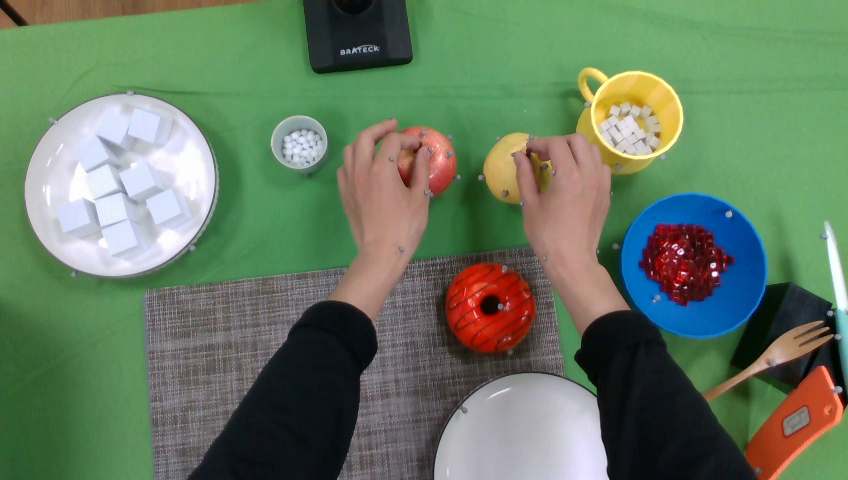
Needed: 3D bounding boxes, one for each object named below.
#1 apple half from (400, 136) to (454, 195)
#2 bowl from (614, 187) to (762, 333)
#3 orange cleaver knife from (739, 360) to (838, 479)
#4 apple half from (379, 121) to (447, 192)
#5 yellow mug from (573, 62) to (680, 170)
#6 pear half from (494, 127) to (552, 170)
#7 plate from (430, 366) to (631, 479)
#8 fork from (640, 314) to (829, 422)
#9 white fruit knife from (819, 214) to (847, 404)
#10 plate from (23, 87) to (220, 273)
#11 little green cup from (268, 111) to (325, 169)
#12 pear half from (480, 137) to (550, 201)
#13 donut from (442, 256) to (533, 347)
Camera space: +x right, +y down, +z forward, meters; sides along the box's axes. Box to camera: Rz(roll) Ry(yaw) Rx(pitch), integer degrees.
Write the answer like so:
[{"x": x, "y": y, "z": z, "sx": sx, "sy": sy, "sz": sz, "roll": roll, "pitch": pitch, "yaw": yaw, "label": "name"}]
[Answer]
[{"x": 0.010, "y": -0.073, "z": 0.662, "sx": 0.032, "sy": 0.081, "sz": 0.081, "roll": 42, "pitch": 83, "yaw": 9, "label": "apple half"}, {"x": 0.270, "y": 0.024, "z": 0.654, "sx": 0.151, "sy": 0.077, "sz": 0.151, "roll": 0, "pitch": 83, "yaw": -1, "label": "bowl"}, {"x": 0.353, "y": 0.216, "z": 0.627, "sx": 0.012, "sy": 0.077, "sz": 0.212, "roll": 25, "pitch": 112, "yaw": 1, "label": "orange cleaver knife"}, {"x": -0.019, "y": -0.098, "z": 0.666, "sx": 0.053, "sy": 0.075, "sz": 0.081, "roll": 42, "pitch": 87, "yaw": 8, "label": "apple half"}, {"x": 0.215, "y": -0.147, "z": 0.681, "sx": 0.100, "sy": 0.064, "sz": 0.130, "roll": -39, "pitch": 83, "yaw": -5, "label": "yellow mug"}, {"x": 0.112, "y": -0.104, "z": 0.661, "sx": 0.070, "sy": 0.088, "sz": 0.031, "roll": 24, "pitch": 83, "yaw": 8, "label": "pear half"}, {"x": 0.110, "y": 0.236, "z": 0.637, "sx": 0.209, "sy": 0.038, "sz": 0.208, "roll": 0, "pitch": 82, "yaw": -2, "label": "plate"}, {"x": 0.318, "y": 0.139, "z": 0.634, "sx": 0.207, "sy": 0.018, "sz": 0.028, "roll": -36, "pitch": 90, "yaw": 14, "label": "fork"}, {"x": 0.433, "y": 0.073, "z": 0.632, "sx": 0.027, "sy": 0.016, "sz": 0.206, "roll": 1, "pitch": 79, "yaw": -30, "label": "white fruit knife"}, {"x": -0.328, "y": -0.065, "z": 0.672, "sx": 0.208, "sy": 0.039, "sz": 0.207, "roll": 0, "pitch": 82, "yaw": -1, "label": "plate"}, {"x": -0.140, "y": -0.110, "z": 0.682, "sx": 0.061, "sy": 0.039, "sz": 0.061, "roll": 0, "pitch": 81, "yaw": -1, "label": "little green cup"}, {"x": 0.095, "y": -0.074, "z": 0.647, "sx": 0.076, "sy": 0.110, "sz": 0.056, "roll": 26, "pitch": 80, "yaw": 7, "label": "pear half"}, {"x": 0.068, "y": 0.066, "z": 0.656, "sx": 0.099, "sy": 0.048, "sz": 0.099, "roll": 0, "pitch": 84, "yaw": 3, "label": "donut"}]
